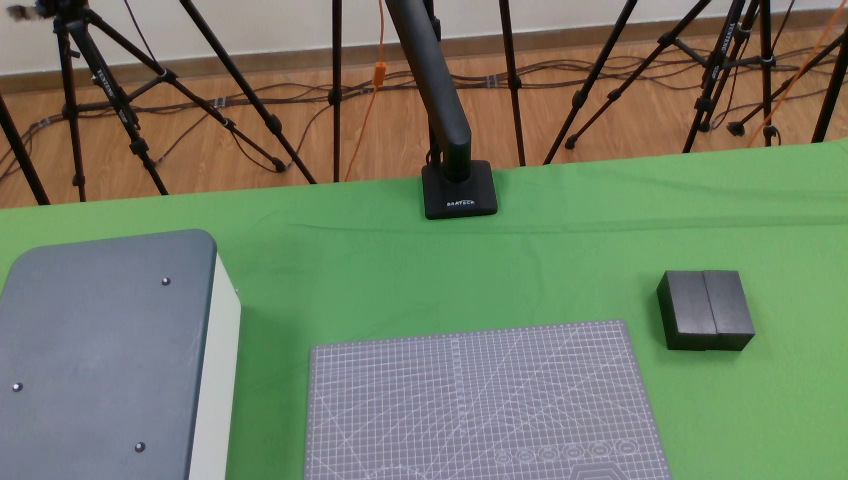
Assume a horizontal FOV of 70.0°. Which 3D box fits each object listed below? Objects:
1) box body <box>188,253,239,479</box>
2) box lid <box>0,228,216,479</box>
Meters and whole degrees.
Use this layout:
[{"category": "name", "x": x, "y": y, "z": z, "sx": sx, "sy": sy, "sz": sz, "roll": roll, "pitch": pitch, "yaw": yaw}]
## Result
[{"category": "box body", "x": -0.380, "y": 0.189, "z": 0.747, "sx": 0.254, "sy": 0.162, "sz": 0.360, "roll": -6, "pitch": 54, "yaw": -2}, {"category": "box lid", "x": -0.382, "y": 0.143, "z": 0.688, "sx": 0.263, "sy": 0.015, "sz": 0.367, "roll": -6, "pitch": 55, "yaw": -2}]
